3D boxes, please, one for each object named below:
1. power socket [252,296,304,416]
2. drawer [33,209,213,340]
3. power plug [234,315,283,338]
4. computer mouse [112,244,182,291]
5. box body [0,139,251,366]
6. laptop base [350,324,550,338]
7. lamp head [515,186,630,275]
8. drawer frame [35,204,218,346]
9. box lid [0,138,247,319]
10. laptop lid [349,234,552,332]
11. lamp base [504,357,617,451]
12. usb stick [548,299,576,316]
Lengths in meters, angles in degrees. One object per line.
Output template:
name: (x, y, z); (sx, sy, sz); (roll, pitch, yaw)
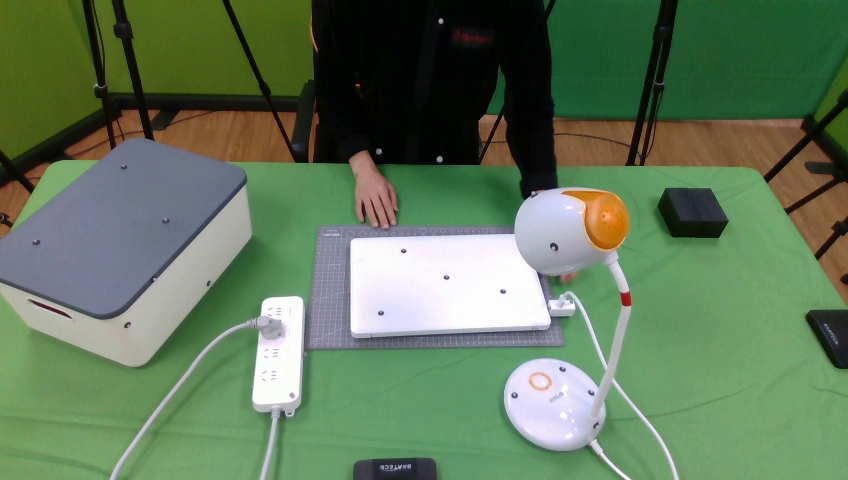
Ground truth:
power socket: (-0.238, 0.182, 0.997); (0.072, 0.033, 0.225); (-3, 47, -5)
drawer: (-0.509, 0.054, 1.046); (0.194, 0.073, 0.211); (15, 43, 10)
power plug: (-0.269, 0.143, 1.000); (0.072, 0.053, 0.035); (4, 47, 2)
computer mouse: (-0.493, 0.046, 1.078); (0.117, 0.041, 0.062); (24, 42, 13)
box body: (-0.496, 0.013, 1.048); (0.254, 0.161, 0.362); (17, 47, 12)
laptop base: (0.039, 0.082, 1.125); (0.355, 0.023, 0.234); (-2, 43, -6)
lamp head: (0.188, -0.013, 0.728); (0.112, 0.112, 0.122); (-25, 9, -25)
drawer frame: (-0.505, 0.054, 1.052); (0.201, 0.083, 0.212); (14, 52, 12)
box lid: (-0.494, -0.037, 0.993); (0.263, 0.015, 0.370); (17, 46, 12)
laptop lid: (0.040, 0.071, 1.118); (0.357, 0.013, 0.240); (0, 44, -5)
lamp base: (0.220, 0.211, 0.903); (0.160, 0.181, 0.178); (-32, 59, -30)
usb stick: (0.239, 0.121, 1.084); (0.059, 0.027, 0.021); (-1, 51, -1)
